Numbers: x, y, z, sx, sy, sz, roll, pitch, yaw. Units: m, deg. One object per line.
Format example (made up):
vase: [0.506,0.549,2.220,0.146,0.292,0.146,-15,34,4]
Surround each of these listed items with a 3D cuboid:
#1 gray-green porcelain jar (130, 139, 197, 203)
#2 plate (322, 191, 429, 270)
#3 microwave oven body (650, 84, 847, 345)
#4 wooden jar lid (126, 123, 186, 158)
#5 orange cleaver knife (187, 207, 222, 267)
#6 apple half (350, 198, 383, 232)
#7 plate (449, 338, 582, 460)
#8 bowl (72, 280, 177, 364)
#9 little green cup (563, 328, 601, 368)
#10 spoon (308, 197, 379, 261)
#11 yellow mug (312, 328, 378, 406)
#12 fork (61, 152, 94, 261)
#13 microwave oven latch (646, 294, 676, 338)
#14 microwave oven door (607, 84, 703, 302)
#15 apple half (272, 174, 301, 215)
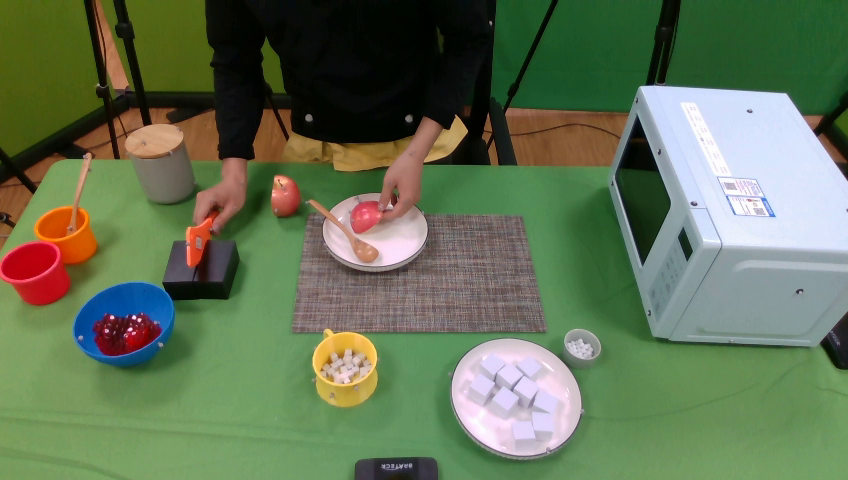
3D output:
gray-green porcelain jar: [-0.522,-0.148,1.224,0.106,0.127,0.105,2,46,-2]
plate: [-0.093,-0.015,1.185,0.209,0.038,0.208,2,46,-2]
microwave oven body: [0.569,-0.054,1.116,0.326,0.261,0.439,2,46,-1]
wooden jar lid: [-0.519,-0.190,1.179,0.108,0.021,0.107,2,44,-2]
orange cleaver knife: [-0.403,-0.009,1.118,0.012,0.077,0.210,1,17,-4]
apple half: [-0.119,-0.058,1.195,0.081,0.033,0.081,-25,42,26]
plate: [0.141,0.251,0.956,0.208,0.039,0.206,2,46,-2]
bowl: [-0.473,0.147,0.982,0.151,0.077,0.150,2,46,-2]
little green cup: [0.265,0.185,1.025,0.061,0.039,0.061,1,45,-1]
spoon: [-0.159,-0.025,1.172,0.041,0.022,0.193,-40,73,-20]
yellow mug: [-0.132,0.193,0.971,0.100,0.064,0.130,-22,51,-22]
fork: [-0.637,-0.063,1.119,0.028,0.019,0.207,11,90,17]
microwave oven latch: [0.413,0.133,1.061,0.030,0.029,0.078,4,46,1]
microwave oven door: [0.424,-0.096,1.138,0.039,0.245,0.353,3,46,-1]
apple half: [-0.276,-0.090,1.226,0.053,0.075,0.080,1,42,-7]
